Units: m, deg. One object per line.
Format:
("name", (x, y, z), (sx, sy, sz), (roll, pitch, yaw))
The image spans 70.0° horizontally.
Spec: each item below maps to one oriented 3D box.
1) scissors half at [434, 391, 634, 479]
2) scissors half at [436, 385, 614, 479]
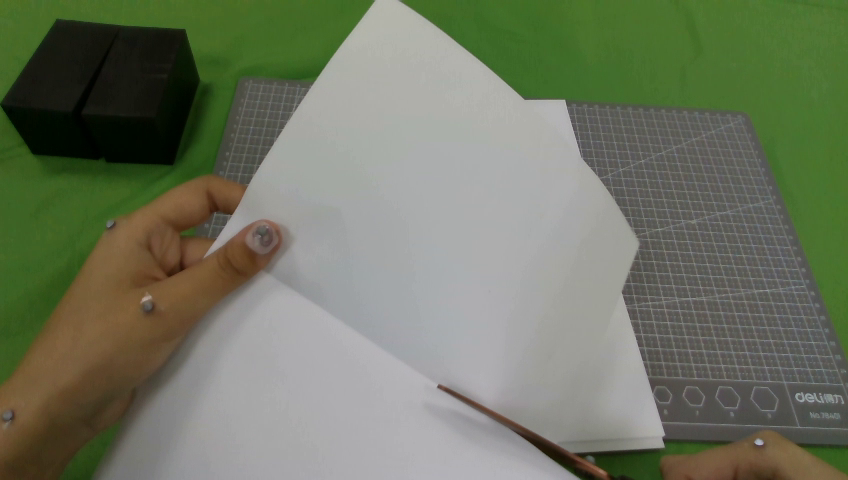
("scissors half", (0.082, 0.102, 0.257), (0.174, 0.040, 0.013), (21, 66, 21))
("scissors half", (0.081, 0.110, 0.278), (0.176, 0.040, 0.012), (32, 72, -8))
